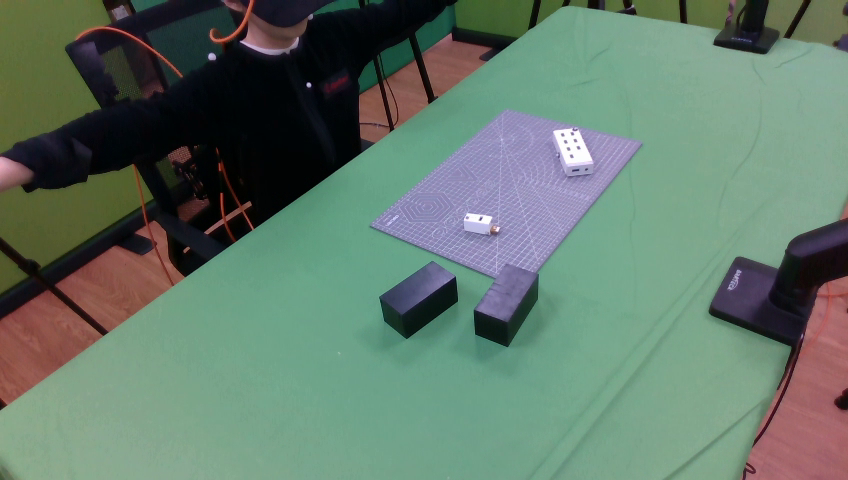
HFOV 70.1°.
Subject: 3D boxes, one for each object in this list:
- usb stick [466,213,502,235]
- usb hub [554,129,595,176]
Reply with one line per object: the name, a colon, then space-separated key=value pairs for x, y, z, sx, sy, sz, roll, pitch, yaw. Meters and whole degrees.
usb stick: x=0.098 y=-0.024 z=0.983 sx=0.059 sy=0.027 sz=0.021 roll=13 pitch=41 yaw=18
usb hub: x=0.278 y=-0.163 z=1.119 sx=0.049 sy=0.025 sz=0.124 roll=-6 pitch=41 yaw=2
